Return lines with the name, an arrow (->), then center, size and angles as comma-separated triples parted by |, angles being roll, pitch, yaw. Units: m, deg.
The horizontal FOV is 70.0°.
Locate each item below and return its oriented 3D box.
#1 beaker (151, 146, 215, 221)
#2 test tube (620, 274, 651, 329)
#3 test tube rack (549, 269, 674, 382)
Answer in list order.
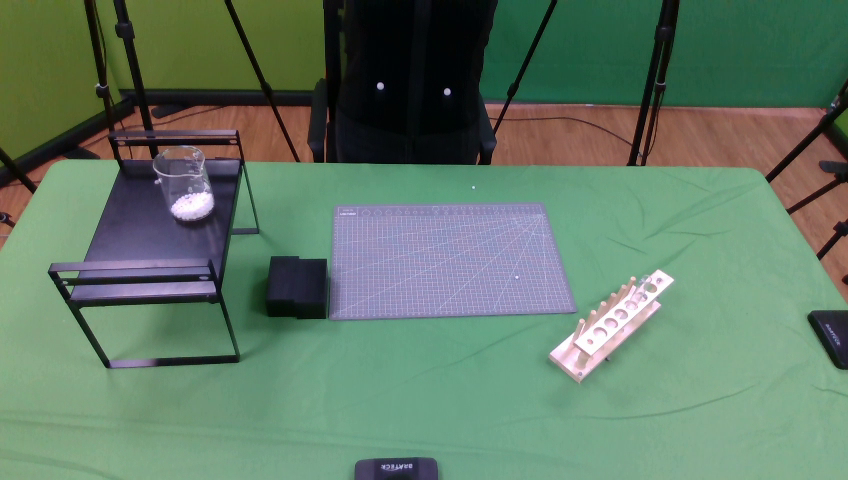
beaker -> -0.370, -0.084, 0.949 | 0.083, 0.101, 0.074 | 27, 50, 19
test tube -> 0.348, 0.105, 1.008 | 0.017, 0.151, 0.017 | 1, 51, -1
test tube rack -> 0.325, 0.134, 1.047 | 0.242, 0.085, 0.066 | -32, 56, -30
